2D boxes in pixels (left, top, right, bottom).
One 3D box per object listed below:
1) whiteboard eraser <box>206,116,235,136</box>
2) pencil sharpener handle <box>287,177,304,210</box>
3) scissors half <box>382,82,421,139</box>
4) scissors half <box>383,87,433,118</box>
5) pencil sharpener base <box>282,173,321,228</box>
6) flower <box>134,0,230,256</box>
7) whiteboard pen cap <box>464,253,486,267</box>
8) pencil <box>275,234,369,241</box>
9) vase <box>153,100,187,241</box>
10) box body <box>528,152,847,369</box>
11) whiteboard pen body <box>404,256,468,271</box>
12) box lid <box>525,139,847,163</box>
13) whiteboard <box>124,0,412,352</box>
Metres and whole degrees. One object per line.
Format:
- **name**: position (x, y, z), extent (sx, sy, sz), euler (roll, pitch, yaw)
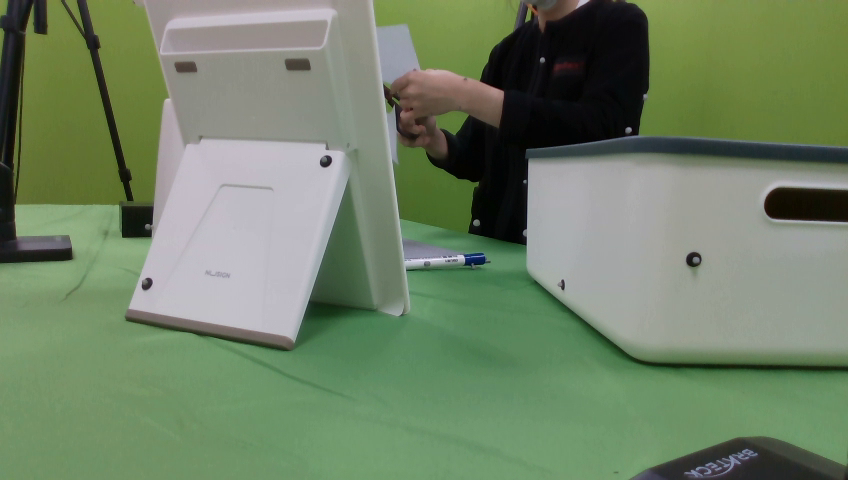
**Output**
- **whiteboard eraser**: position (-0.450, -0.252, 1.335), extent (0.056, 0.042, 0.112), euler (1, 7, -22)
- **pencil sharpener handle**: position (-0.269, -0.096, 1.257), extent (0.036, 0.067, 0.030), euler (-8, 8, -27)
- **scissors half**: position (-0.063, -0.240, 1.046), extent (0.176, 0.040, 0.012), euler (49, -18, -31)
- **scissors half**: position (-0.052, -0.259, 1.050), extent (0.176, 0.040, 0.013), euler (18, -5, -37)
- **pencil sharpener base**: position (-0.247, -0.080, 1.212), extent (0.061, 0.107, 0.076), euler (-2, 5, -28)
- **flower**: position (-0.282, -0.147, 0.713), extent (0.038, 0.362, 0.044), euler (-23, 24, -31)
- **whiteboard pen cap**: position (0.066, 0.027, 0.818), extent (0.033, 0.018, 0.018), euler (-5, 10, -24)
- **pencil**: position (-0.169, -0.006, 1.036), extent (0.195, 0.012, 0.012), euler (-2, 9, -45)
- **vase**: position (-0.278, -0.066, 0.736), extent (0.098, 0.200, 0.098), euler (2, 9, 0)
- **box body**: position (0.258, -0.005, 0.591), extent (0.254, 0.160, 0.363), euler (2, 7, -4)
- **whiteboard pen body**: position (0.013, 0.030, 0.792), extent (0.141, 0.017, 0.017), euler (-3, 9, -24)
- **box lid**: position (0.261, -0.078, 0.580), extent (0.264, 0.015, 0.371), euler (2, 7, -4)
- **whiteboard**: position (-0.151, -0.049, 0.472), extent (0.216, 0.305, 0.144), euler (6, 27, 24)
